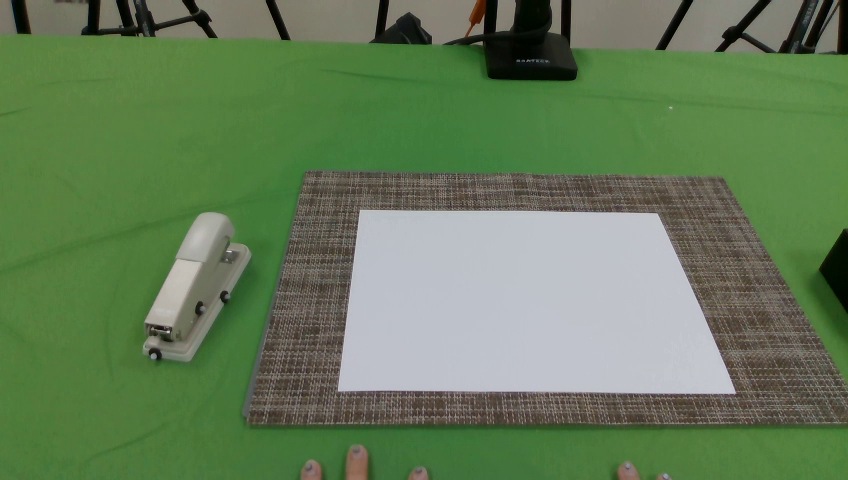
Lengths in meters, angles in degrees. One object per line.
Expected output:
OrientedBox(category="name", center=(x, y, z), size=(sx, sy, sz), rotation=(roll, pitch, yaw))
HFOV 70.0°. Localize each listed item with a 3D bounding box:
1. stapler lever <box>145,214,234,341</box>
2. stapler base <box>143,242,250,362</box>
OrientedBox(category="stapler lever", center=(-0.188, 0.025, 0.490), size=(0.027, 0.040, 0.117), rotation=(7, 44, 8))
OrientedBox(category="stapler base", center=(-0.189, 0.042, 0.508), size=(0.041, 0.024, 0.129), rotation=(7, 45, 7))
